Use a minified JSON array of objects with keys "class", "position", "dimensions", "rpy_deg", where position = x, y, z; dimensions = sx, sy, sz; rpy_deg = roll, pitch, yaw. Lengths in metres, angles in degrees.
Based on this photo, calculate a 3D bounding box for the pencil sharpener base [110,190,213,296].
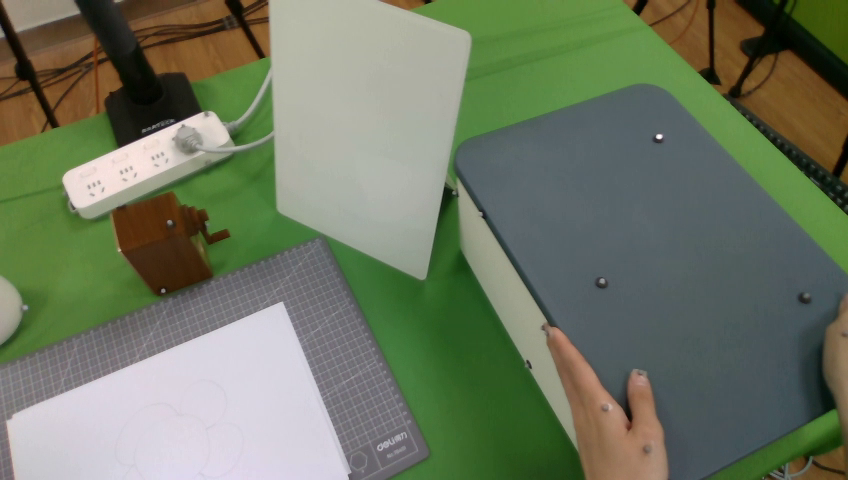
[{"class":"pencil sharpener base","position":[-0.291,0.005,0.686],"dimensions":[0.077,0.108,0.061],"rpy_deg":[-21,60,-13]}]

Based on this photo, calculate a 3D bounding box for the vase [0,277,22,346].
[{"class":"vase","position":[-0.504,0.045,0.609],"dimensions":[0.098,0.202,0.097],"rpy_deg":[-1,58,2]}]

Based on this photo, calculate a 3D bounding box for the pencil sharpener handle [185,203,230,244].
[{"class":"pencil sharpener handle","position":[-0.244,-0.020,0.687],"dimensions":[0.031,0.068,0.035],"rpy_deg":[-21,59,-12]}]

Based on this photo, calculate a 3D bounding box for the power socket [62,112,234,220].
[{"class":"power socket","position":[-0.358,-0.099,0.795],"dimensions":[0.227,0.033,0.071],"rpy_deg":[-29,63,-17]}]

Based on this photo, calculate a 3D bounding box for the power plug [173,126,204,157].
[{"class":"power plug","position":[-0.300,-0.115,0.777],"dimensions":[0.035,0.053,0.072],"rpy_deg":[-20,61,-11]}]

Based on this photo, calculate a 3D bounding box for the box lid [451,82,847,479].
[{"class":"box lid","position":[0.210,0.000,0.554],"dimensions":[0.264,0.015,0.367],"rpy_deg":[-20,59,-15]}]

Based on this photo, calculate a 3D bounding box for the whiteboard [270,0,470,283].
[{"class":"whiteboard","position":[-0.044,-0.140,0.693],"dimensions":[0.216,0.308,0.143],"rpy_deg":[25,42,16]}]

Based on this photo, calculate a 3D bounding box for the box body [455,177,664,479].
[{"class":"box body","position":[0.213,0.046,0.623],"dimensions":[0.254,0.162,0.360],"rpy_deg":[-22,60,-13]}]
